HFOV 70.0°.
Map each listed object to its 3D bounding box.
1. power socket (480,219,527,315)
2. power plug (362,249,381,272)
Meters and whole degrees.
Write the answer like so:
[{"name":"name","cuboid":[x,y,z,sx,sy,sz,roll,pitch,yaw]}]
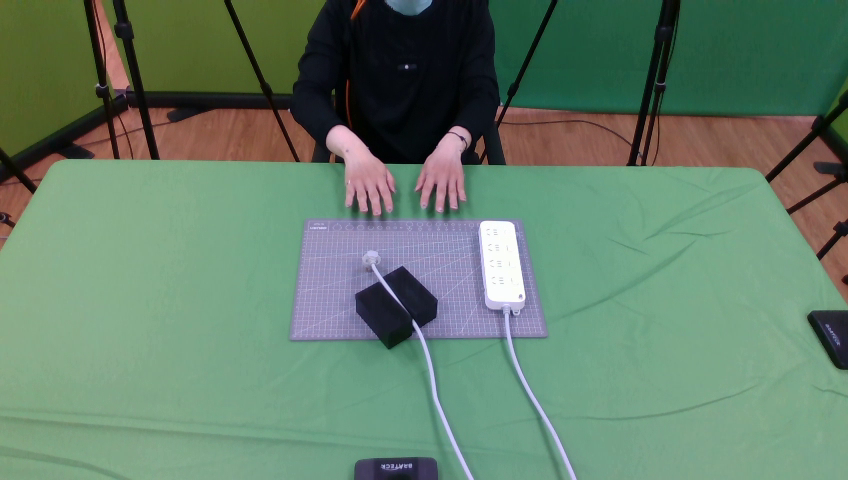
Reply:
[{"name":"power socket","cuboid":[0.149,0.042,1.151,0.072,0.033,0.225,1,47,-1]},{"name":"power plug","cuboid":[-0.100,0.046,1.113,0.035,0.053,0.072,13,40,5]}]
